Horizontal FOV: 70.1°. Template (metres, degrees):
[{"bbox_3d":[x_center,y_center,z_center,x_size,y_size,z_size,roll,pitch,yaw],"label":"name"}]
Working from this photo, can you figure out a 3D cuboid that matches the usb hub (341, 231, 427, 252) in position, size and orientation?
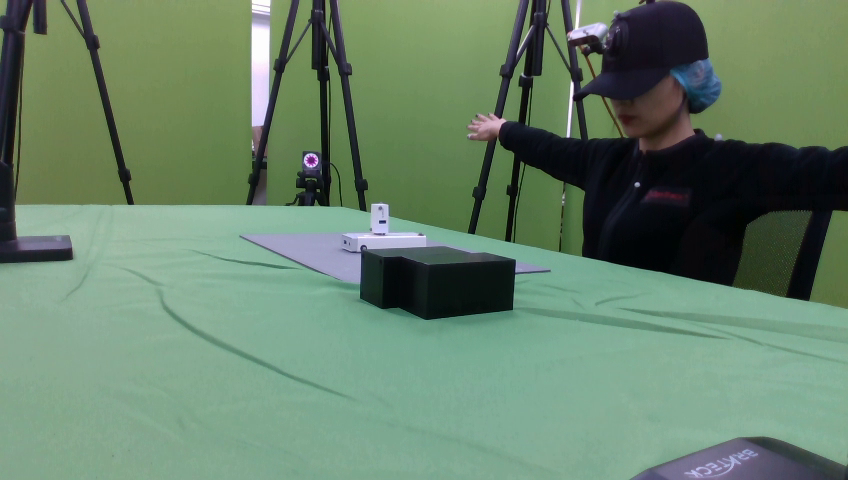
[{"bbox_3d":[-0.061,0.002,0.930,0.126,0.025,0.049,-2,9,-28],"label":"usb hub"}]

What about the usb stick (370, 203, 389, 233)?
[{"bbox_3d":[-0.068,-0.027,0.926,0.021,0.059,0.027,-2,11,-30],"label":"usb stick"}]
